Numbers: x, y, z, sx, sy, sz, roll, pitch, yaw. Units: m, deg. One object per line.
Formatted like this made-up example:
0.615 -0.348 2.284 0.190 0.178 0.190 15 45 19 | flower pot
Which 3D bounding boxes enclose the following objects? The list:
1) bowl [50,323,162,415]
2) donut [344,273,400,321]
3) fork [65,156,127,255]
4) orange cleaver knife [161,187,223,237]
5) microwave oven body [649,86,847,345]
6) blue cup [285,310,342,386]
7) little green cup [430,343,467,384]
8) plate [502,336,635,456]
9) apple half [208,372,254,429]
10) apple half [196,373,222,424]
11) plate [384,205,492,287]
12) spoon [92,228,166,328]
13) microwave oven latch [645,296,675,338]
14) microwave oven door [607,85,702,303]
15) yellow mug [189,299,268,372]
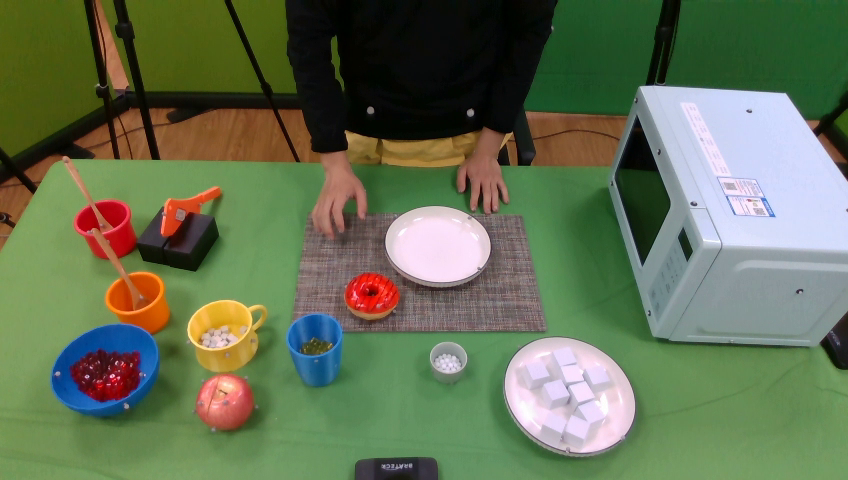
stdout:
-0.472 0.209 0.924 0.151 0.077 0.150 3 45 -2 | bowl
-0.092 0.099 1.075 0.099 0.048 0.098 3 44 -2 | donut
-0.614 -0.064 1.130 0.028 0.018 0.207 -29 96 -16 | fork
-0.448 -0.058 1.180 0.012 0.077 0.211 13 17 6 | orange cleaver knife
0.568 -0.053 1.118 0.326 0.261 0.439 2 45 -1 | microwave oven body
-0.170 0.179 0.958 0.093 0.101 0.092 1 44 -1 | blue cup
0.039 0.203 0.994 0.061 0.039 0.061 2 46 -2 | little green cup
0.225 0.248 0.963 0.208 0.039 0.206 2 46 -2 | plate
-0.282 0.244 0.908 0.053 0.075 0.080 7 42 -1 | apple half
-0.322 0.239 0.907 0.033 0.081 0.081 7 46 -1 | apple half
0.027 0.016 1.169 0.209 0.038 0.208 2 46 -2 | plate
-0.495 0.063 1.014 0.041 0.194 0.021 -34 12 -31 | spoon
0.412 0.134 1.061 0.030 0.029 0.078 3 45 0 | microwave oven latch
0.423 -0.094 1.141 0.039 0.245 0.353 2 46 -1 | microwave oven door
-0.316 0.149 1.002 0.131 0.064 0.099 -32 56 -32 | yellow mug
